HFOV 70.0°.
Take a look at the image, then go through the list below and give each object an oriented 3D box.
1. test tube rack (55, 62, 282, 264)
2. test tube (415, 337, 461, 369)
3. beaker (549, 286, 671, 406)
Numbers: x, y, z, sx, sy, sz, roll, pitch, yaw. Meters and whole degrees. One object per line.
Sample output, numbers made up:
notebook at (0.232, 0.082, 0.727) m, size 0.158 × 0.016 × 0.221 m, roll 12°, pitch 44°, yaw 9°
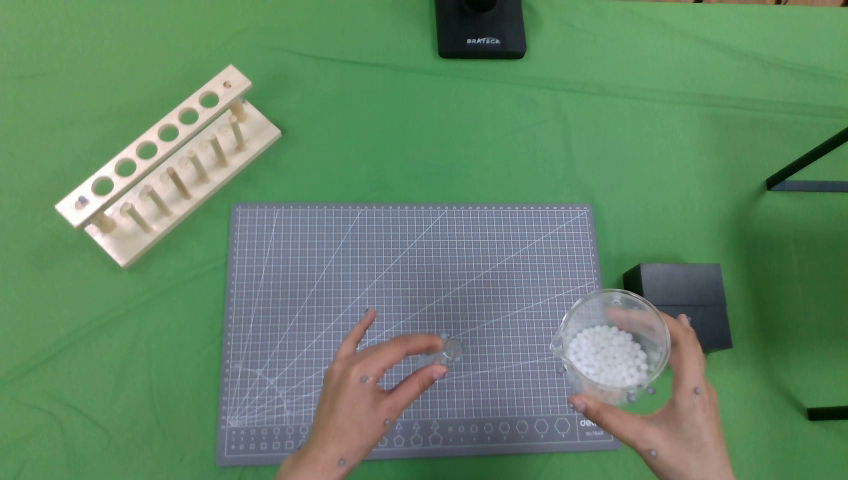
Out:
test tube rack at (-0.279, -0.087, 0.691) m, size 0.066 × 0.085 × 0.242 m, roll 43°, pitch 74°, yaw 7°
test tube at (0.010, 0.101, 0.530) m, size 0.017 × 0.150 × 0.017 m, roll 3°, pitch 74°, yaw -9°
beaker at (0.140, 0.088, 0.470) m, size 0.084 × 0.101 × 0.073 m, roll -9°, pitch 65°, yaw 9°
